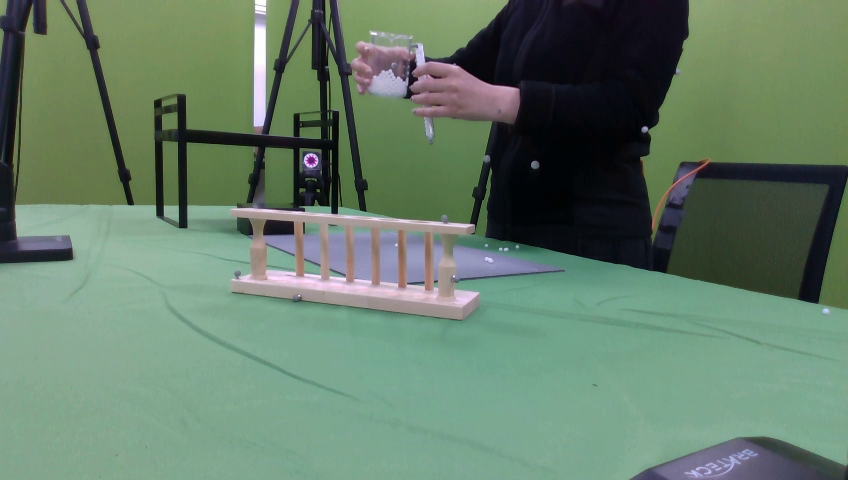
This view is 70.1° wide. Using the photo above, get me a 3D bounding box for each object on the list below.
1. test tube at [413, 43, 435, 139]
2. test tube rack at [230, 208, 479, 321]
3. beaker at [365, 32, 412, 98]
[{"bbox_3d":[0.000,-0.232,0.943,0.017,0.150,0.017,-8,-2,0],"label":"test tube"},{"bbox_3d":[-0.069,0.017,0.598,0.242,0.085,0.067,5,8,18],"label":"test tube rack"},{"bbox_3d":[-0.062,-0.294,1.019,0.074,0.100,0.084,4,20,-6],"label":"beaker"}]
